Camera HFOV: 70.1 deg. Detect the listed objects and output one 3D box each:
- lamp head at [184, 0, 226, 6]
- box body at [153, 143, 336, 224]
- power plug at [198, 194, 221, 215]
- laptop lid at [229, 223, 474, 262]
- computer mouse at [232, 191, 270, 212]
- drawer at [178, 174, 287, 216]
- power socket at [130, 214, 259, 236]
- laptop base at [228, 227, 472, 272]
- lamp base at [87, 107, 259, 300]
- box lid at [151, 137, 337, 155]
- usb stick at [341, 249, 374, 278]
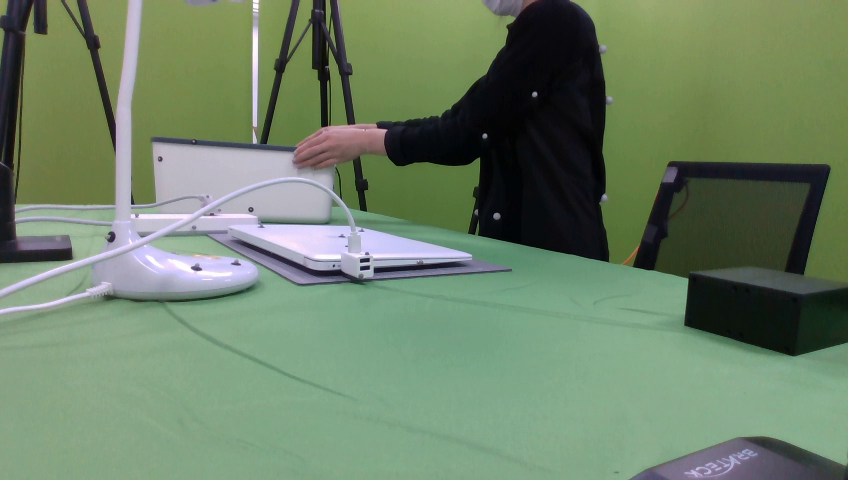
[{"bbox_3d":[-0.229,-0.320,0.627,0.112,0.112,0.123,6,-36,26],"label":"lamp head"},{"bbox_3d":[-0.380,-0.130,1.344,0.365,0.160,0.253,1,7,-9],"label":"box body"},{"bbox_3d":[-0.386,-0.055,1.088,0.035,0.052,0.072,-1,7,-24],"label":"power plug"},{"bbox_3d":[-0.121,0.000,0.888,0.243,0.013,0.355,1,7,-33],"label":"laptop lid"},{"bbox_3d":[-0.382,-0.086,1.343,0.063,0.041,0.117,9,10,-4],"label":"computer mouse"},{"bbox_3d":[-0.414,-0.104,1.342,0.212,0.073,0.194,5,7,-11],"label":"drawer"},{"bbox_3d":[-0.397,-0.028,1.048,0.228,0.032,0.072,-3,7,-35],"label":"power socket"},{"bbox_3d":[-0.124,0.011,0.889,0.237,0.023,0.352,2,6,-35],"label":"laptop base"},{"bbox_3d":[-0.254,-0.039,0.603,0.160,0.180,0.179,5,10,18],"label":"lamp base"},{"bbox_3d":[-0.379,-0.204,1.334,0.372,0.015,0.262,2,7,-9],"label":"box lid"},{"bbox_3d":[-0.079,0.026,0.687,0.021,0.027,0.059,-7,9,-31],"label":"usb stick"}]
